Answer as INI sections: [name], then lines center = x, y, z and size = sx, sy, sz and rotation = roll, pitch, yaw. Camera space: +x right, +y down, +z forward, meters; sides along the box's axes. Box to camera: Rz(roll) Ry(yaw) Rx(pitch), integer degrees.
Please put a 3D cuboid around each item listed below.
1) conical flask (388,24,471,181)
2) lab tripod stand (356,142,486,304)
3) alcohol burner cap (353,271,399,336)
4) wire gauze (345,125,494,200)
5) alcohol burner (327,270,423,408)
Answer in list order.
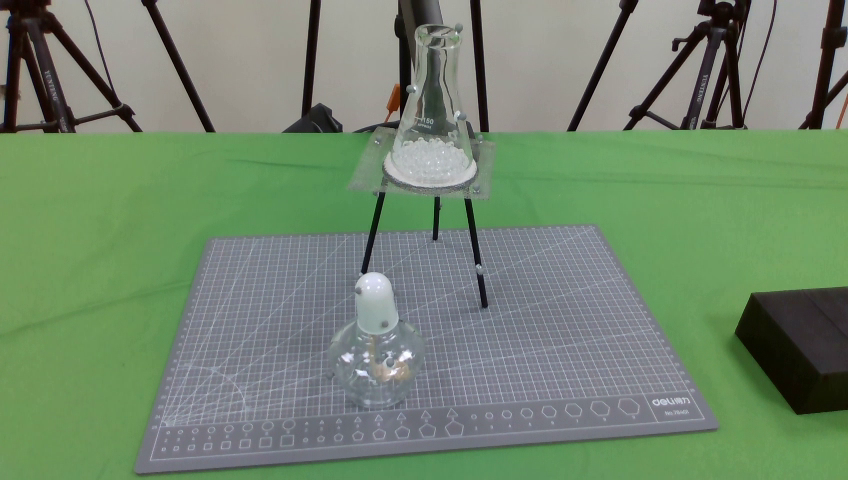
[conical flask]
center = 0.007, -0.118, 0.516
size = 0.075, 0.123, 0.074
rotation = 2, 36, -1
[lab tripod stand]
center = 0.006, -0.017, 0.592
size = 0.148, 0.132, 0.147
rotation = 3, 35, -2
[alcohol burner cap]
center = -0.037, 0.046, 0.456
size = 0.034, 0.048, 0.033
rotation = -3, 39, 3
[wire gauze]
center = 0.001, -0.071, 0.554
size = 0.121, 0.011, 0.124
rotation = 6, 38, 6
[alcohol burner]
center = -0.039, 0.074, 0.477
size = 0.078, 0.120, 0.077
rotation = 1, 34, 0
